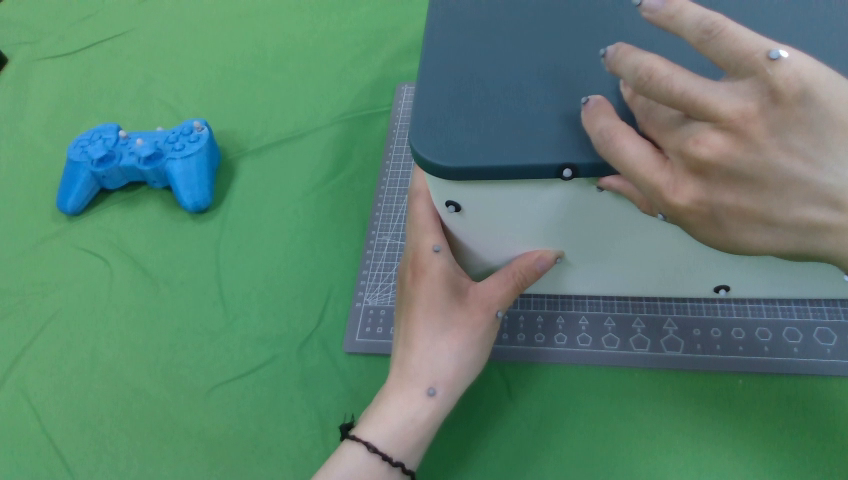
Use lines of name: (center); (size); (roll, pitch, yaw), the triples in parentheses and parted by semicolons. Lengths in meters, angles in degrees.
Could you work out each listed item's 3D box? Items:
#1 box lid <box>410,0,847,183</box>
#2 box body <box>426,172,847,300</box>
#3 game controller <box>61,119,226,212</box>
box lid: (0.181, -0.139, 0.377); (0.371, 0.015, 0.261); (0, 55, 10)
box body: (0.194, -0.096, 0.435); (0.363, 0.162, 0.252); (0, 55, 10)
game controller: (-0.264, -0.075, 0.572); (0.155, 0.052, 0.096); (1, 51, 9)
